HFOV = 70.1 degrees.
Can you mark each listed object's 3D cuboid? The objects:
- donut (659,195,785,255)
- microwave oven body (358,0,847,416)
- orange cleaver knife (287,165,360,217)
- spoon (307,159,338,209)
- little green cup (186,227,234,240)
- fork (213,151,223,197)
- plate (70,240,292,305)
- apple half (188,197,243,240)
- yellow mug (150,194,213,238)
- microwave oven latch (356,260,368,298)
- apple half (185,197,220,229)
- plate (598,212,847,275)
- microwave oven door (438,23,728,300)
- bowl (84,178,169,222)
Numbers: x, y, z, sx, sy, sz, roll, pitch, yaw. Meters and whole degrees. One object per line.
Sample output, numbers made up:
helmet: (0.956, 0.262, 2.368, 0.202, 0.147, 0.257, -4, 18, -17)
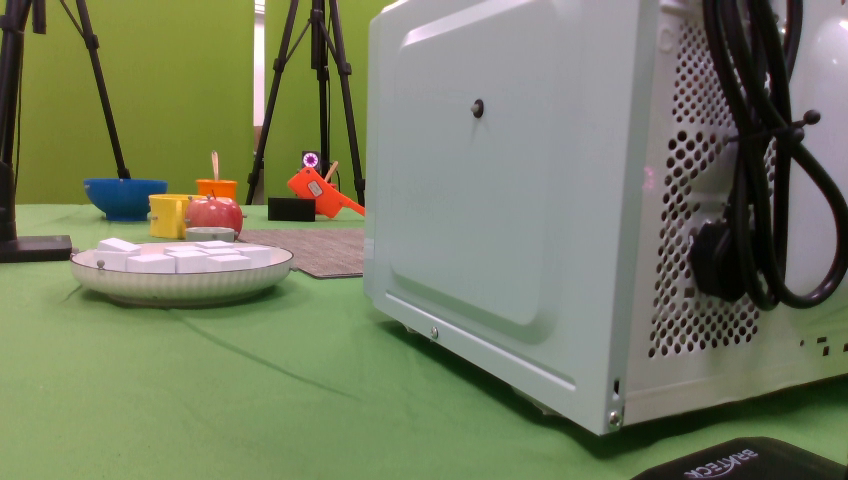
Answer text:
donut: (0.252, -0.013, 0.517, 0.099, 0.048, 0.099, 3, 8, 0)
microwave oven body: (0.211, -0.047, 0.475, 0.444, 0.260, 0.324, -1, 8, -28)
orange cleaver knife: (-0.211, -0.092, 1.382, 0.212, 0.077, 0.012, 34, 1, -15)
spoon: (-0.257, -0.147, 1.567, 0.041, 0.022, 0.193, 1, 50, 20)
little green cup: (-0.284, 0.005, 0.805, 0.061, 0.038, 0.061, 2, 8, 0)
fork: (-0.493, -0.143, 1.442, 0.028, 0.018, 0.206, -3, 52, -18)
plate: (-0.242, 0.031, 0.618, 0.208, 0.039, 0.207, 2, 8, 0)
apple half: (-0.305, -0.026, 0.907, 0.053, 0.074, 0.081, 12, 8, 31)
yellow mug: (-0.401, -0.040, 1.003, 0.100, 0.064, 0.130, -1, 9, -20)
microwave oven latch: (-0.019, 0.033, 0.530, 0.079, 0.029, 0.030, 0, 7, -26)
apple half: (-0.338, -0.031, 0.927, 0.032, 0.081, 0.081, 12, 12, 31)
plate: (0.255, 0.000, 0.518, 0.209, 0.038, 0.209, 2, 6, 0)
microwave oven door: (0.181, -0.072, 0.621, 0.358, 0.243, 0.039, -2, 8, -29)
bowl: (-0.584, -0.078, 1.194, 0.151, 0.077, 0.151, 3, 8, 0)
